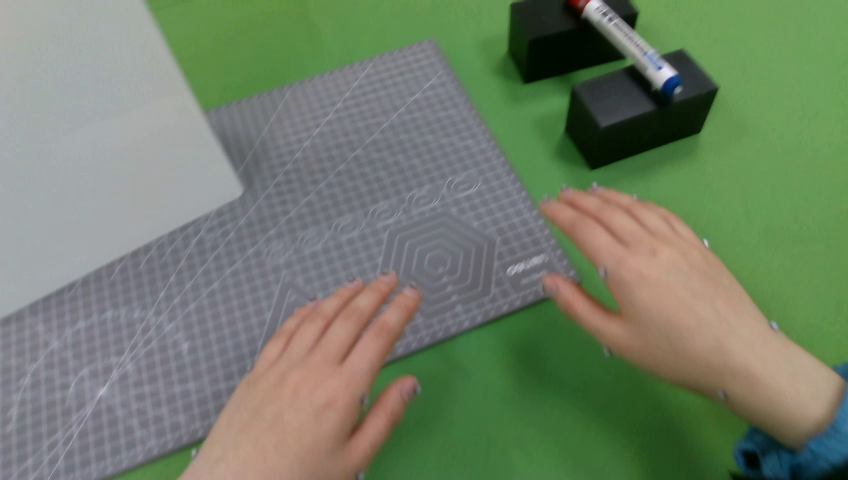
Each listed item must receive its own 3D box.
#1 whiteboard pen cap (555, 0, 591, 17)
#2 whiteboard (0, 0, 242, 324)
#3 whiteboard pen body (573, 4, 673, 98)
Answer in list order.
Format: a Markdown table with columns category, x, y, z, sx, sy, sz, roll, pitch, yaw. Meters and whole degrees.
| category | x | y | z | sx | sy | sz | roll | pitch | yaw |
| --- | --- | --- | --- | --- | --- | --- | --- | --- | --- |
| whiteboard pen cap | 0.128 | -0.204 | 0.521 | 0.017 | 0.017 | 0.032 | -26 | 57 | -11 |
| whiteboard | -0.309 | -0.127 | 0.430 | 0.217 | 0.308 | 0.142 | -29 | 40 | -13 |
| whiteboard pen body | 0.152 | -0.162 | 0.491 | 0.017 | 0.017 | 0.139 | -24 | 58 | -10 |
